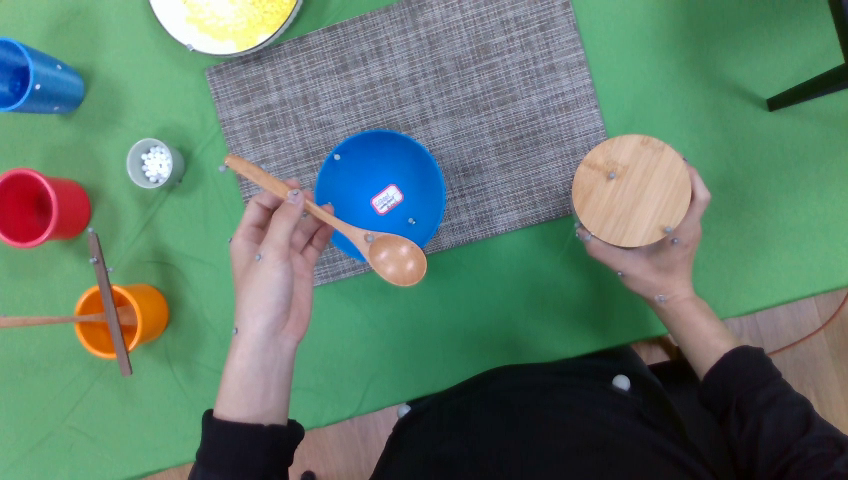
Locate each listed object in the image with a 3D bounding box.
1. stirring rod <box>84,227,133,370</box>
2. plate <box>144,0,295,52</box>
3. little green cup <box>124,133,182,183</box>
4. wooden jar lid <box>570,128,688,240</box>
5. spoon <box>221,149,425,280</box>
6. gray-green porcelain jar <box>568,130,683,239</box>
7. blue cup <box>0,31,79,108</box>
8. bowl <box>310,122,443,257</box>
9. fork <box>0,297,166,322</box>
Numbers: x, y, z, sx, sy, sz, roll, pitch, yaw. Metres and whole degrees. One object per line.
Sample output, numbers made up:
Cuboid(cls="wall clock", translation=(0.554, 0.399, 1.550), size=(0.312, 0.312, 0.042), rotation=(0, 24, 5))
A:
Cuboid(cls="stirring rod", translation=(-0.377, 0.070, 0.724), size=(0.014, 0.006, 0.176), rotation=(-14, 92, 7))
Cuboid(cls="plate", translation=(-0.244, -0.331, 0.735), size=(0.209, 0.038, 0.209), rotation=(0, 95, 7))
Cuboid(cls="little green cup", translation=(-0.339, -0.102, 0.765), size=(0.061, 0.038, 0.061), rotation=(1, 95, 8))
Cuboid(cls="wooden jar lid", translation=(0.196, -0.053, 0.586), size=(0.108, 0.021, 0.108), rotation=(0, 91, 11))
Cuboid(cls="spoon", translation=(-0.085, -0.025, 0.515), size=(0.194, 0.021, 0.041), rotation=(32, 96, -10))
Cuboid(cls="gray-green porcelain jar", translation=(0.208, -0.055, 0.646), size=(0.105, 0.127, 0.106), rotation=(0, 91, 11))
Cuboid(cls="blue cup", translation=(-0.485, -0.201, 0.744), size=(0.092, 0.100, 0.092), rotation=(1, 95, 9))
Cuboid(cls="bowl", translation=(-0.049, -0.057, 0.707), size=(0.151, 0.077, 0.151), rotation=(1, 95, 8))
Cuboid(cls="fork", translation=(-0.425, 0.087, 0.735), size=(0.208, 0.018, 0.028), rotation=(0, 98, -36))
